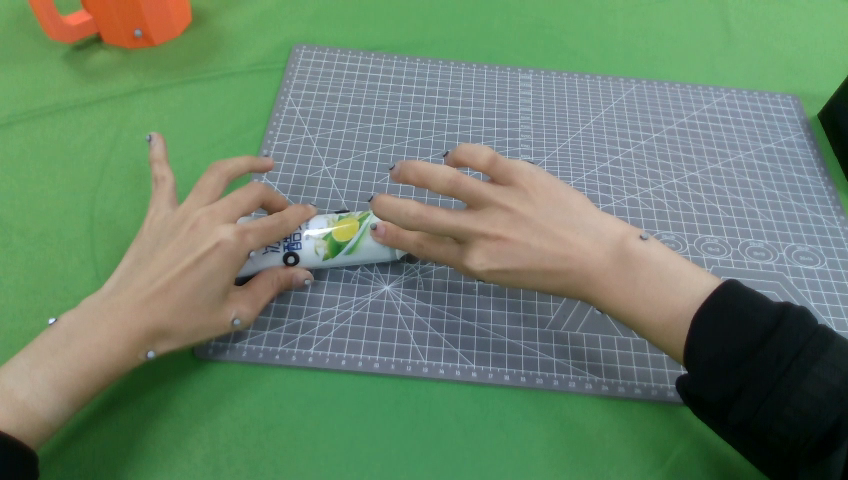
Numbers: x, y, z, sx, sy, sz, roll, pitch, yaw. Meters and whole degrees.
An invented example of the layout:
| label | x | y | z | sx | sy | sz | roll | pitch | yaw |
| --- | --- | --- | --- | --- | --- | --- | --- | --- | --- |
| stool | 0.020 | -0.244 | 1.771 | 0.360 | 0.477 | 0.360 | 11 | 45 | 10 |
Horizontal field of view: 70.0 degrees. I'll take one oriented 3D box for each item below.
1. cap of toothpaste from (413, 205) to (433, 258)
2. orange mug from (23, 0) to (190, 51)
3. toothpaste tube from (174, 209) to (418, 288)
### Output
| label | x | y | z | sx | sy | sz | roll | pitch | yaw |
| --- | --- | --- | --- | --- | --- | --- | --- | --- | --- |
| cap of toothpaste | 0.000 | -0.006 | 0.406 | 0.011 | 0.037 | 0.037 | -7 | 55 | -6 |
| orange mug | -0.265 | -0.217 | 0.498 | 0.126 | 0.101 | 0.083 | -36 | 64 | -30 |
| toothpaste tube | -0.080 | 0.000 | 0.403 | 0.165 | 0.035 | 0.054 | -5 | 51 | -3 |
